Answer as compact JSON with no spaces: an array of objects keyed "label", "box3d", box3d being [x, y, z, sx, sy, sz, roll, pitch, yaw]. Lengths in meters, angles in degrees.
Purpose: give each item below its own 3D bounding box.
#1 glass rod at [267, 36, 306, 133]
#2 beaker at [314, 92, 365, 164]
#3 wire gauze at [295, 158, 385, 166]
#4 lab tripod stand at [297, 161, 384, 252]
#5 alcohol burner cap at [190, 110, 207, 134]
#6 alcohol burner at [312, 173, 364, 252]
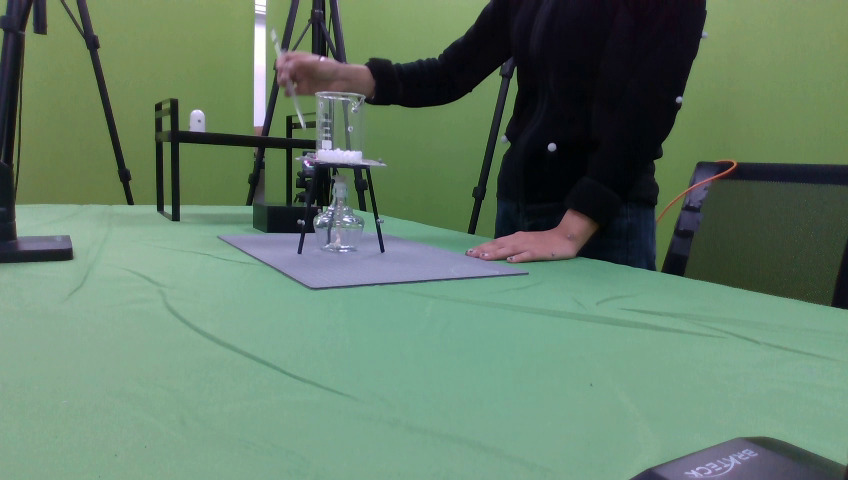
[{"label":"glass rod","box3d":[-0.245,-0.279,1.075,0.008,0.199,0.008,-21,-11,-4]},{"label":"beaker","box3d":[-0.123,-0.163,0.893,0.073,0.100,0.084,8,9,31]},{"label":"wire gauze","box3d":[-0.128,-0.117,0.901,0.125,0.011,0.121,-2,8,-14]},{"label":"lab tripod stand","box3d":[-0.130,-0.051,0.903,0.148,0.131,0.148,3,9,0]},{"label":"alcohol burner cap","box3d":[-0.463,-0.242,1.240,0.034,0.048,0.034,2,7,0]},{"label":"alcohol burner","box3d":[-0.129,-0.042,0.910,0.078,0.119,0.078,4,9,0]}]
